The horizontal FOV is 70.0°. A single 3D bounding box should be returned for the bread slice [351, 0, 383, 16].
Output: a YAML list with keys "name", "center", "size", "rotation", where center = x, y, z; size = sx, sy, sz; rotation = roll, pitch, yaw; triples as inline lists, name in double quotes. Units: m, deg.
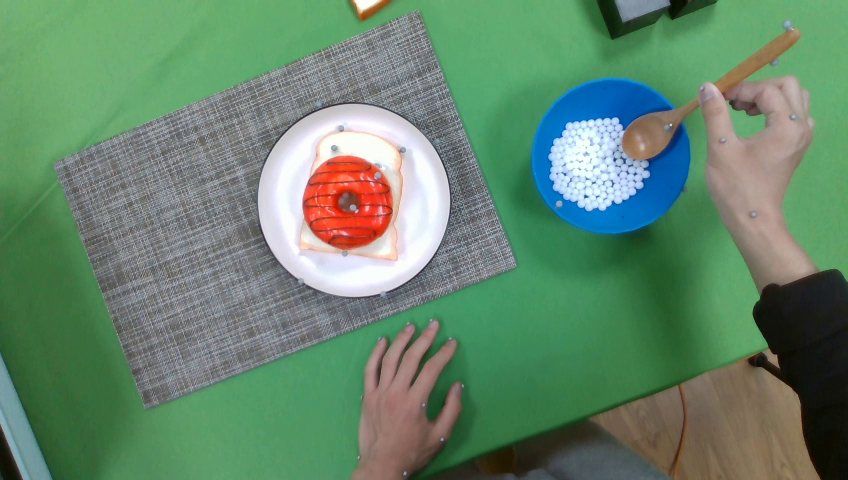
- name: "bread slice"
  center: [-0.066, -0.327, 0.659]
  size: [0.105, 0.019, 0.131]
  rotation: [-35, 90, 3]

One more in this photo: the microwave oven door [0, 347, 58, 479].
- name: "microwave oven door"
  center: [-0.487, 0.161, 0.567]
  size: [0.039, 0.244, 0.355]
  rotation: [-24, 89, 4]

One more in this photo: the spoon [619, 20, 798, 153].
- name: "spoon"
  center: [0.241, -0.129, 0.533]
  size: [0.021, 0.194, 0.041]
  rotation: [-30, 85, -25]

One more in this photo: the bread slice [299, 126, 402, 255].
- name: "bread slice"
  center: [-0.078, -0.054, 0.652]
  size: [0.107, 0.018, 0.134]
  rotation: [4, 92, 4]

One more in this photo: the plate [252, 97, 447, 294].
- name: "plate"
  center: [-0.078, -0.046, 0.651]
  size: [0.207, 0.039, 0.207]
  rotation: [0, 91, 4]

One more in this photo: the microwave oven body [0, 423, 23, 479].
- name: "microwave oven body"
  center: [-0.637, 0.180, 0.583]
  size: [0.326, 0.260, 0.441]
  rotation: [-23, 90, 3]

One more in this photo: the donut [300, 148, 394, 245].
- name: "donut"
  center: [-0.079, -0.045, 0.624]
  size: [0.099, 0.048, 0.099]
  rotation: [0, 92, 5]

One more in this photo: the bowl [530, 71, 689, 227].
- name: "bowl"
  center: [0.180, -0.087, 0.617]
  size: [0.151, 0.077, 0.151]
  rotation: [0, 91, 3]
